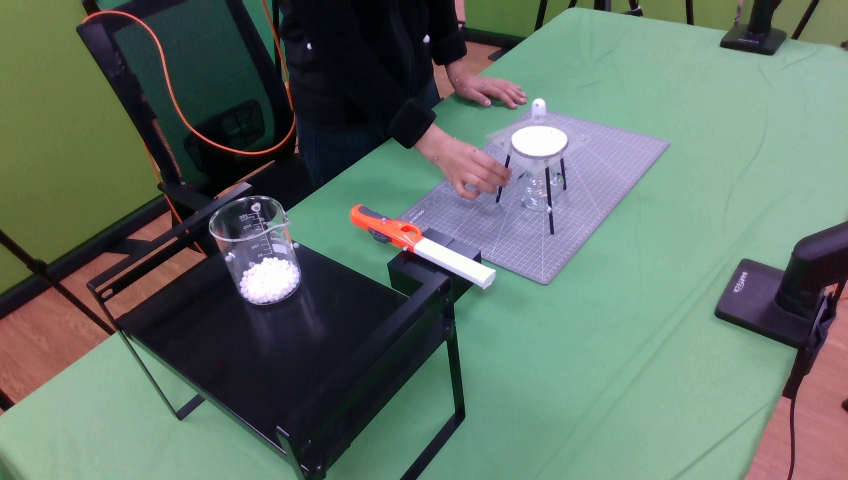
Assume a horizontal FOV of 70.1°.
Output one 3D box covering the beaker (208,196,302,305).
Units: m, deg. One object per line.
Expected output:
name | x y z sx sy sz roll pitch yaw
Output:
beaker | -0.173 0.014 0.647 0.084 0.101 0.073 -1 41 8

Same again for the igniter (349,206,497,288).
igniter | -0.013 0.004 0.897 0.274 0.025 0.057 25 44 32

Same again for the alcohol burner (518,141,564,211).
alcohol burner | 0.193 -0.109 0.999 0.078 0.119 0.077 -6 38 5

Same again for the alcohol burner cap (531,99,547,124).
alcohol burner cap | 0.234 -0.264 1.231 0.034 0.048 0.033 -5 41 5

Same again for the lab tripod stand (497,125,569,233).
lab tripod stand | 0.189 -0.104 0.979 0.148 0.132 0.147 -3 41 3

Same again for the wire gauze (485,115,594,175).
wire gauze | 0.177 -0.154 0.935 0.122 0.011 0.124 -26 45 -21
